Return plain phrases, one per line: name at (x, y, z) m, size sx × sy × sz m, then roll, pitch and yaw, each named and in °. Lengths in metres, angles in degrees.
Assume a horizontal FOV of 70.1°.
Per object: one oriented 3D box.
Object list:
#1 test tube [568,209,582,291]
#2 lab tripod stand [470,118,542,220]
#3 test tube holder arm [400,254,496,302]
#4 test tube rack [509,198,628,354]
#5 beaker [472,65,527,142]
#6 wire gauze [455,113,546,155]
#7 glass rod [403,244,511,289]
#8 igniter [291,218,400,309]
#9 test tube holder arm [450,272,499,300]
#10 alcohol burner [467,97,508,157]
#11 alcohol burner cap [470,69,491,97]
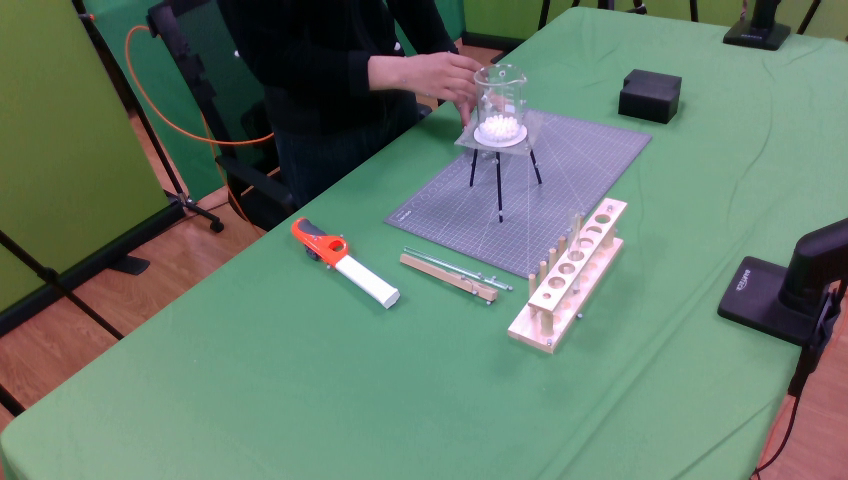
test tube at (0.200, 0.017, 0.799) m, size 0.017 × 0.151 × 0.017 m, roll -8°, pitch 45°, yaw 8°
lab tripod stand at (0.135, -0.128, 1.019) m, size 0.148 × 0.132 × 0.147 m, roll -5°, pitch 38°, yaw 5°
test tube holder arm at (0.032, 0.055, 0.915) m, size 0.177 × 0.015 × 0.013 m, roll 21°, pitch 16°, yaw 33°
test tube rack at (0.206, 0.039, 0.850) m, size 0.066 × 0.085 × 0.243 m, roll 20°, pitch 48°, yaw 31°
beaker at (0.120, -0.211, 0.942) m, size 0.083 × 0.101 × 0.074 m, roll 10°, pitch 42°, yaw 22°
wire gauze at (0.124, -0.175, 0.973) m, size 0.124 × 0.011 × 0.121 m, roll 8°, pitch 39°, yaw 21°
glass rod at (0.047, 0.039, 0.938) m, size 0.198 × 0.008 × 0.008 m, roll 21°, pitch 49°, yaw 30°
igniter at (-0.136, 0.031, 0.970) m, size 0.057 × 0.025 × 0.274 m, roll -41°, pitch 49°, yaw -19°
test tube holder arm at (0.071, 0.068, 0.895) m, size 0.087 × 0.015 × 0.010 m, roll 21°, pitch 16°, yaw 33°
alcohol burner at (0.120, -0.217, 1.143) m, size 0.078 × 0.119 × 0.077 m, roll -4°, pitch 41°, yaw 4°
alcohol burner cap at (0.099, -0.281, 1.074) m, size 0.034 × 0.048 × 0.033 m, roll -11°, pitch 46°, yaw 12°
